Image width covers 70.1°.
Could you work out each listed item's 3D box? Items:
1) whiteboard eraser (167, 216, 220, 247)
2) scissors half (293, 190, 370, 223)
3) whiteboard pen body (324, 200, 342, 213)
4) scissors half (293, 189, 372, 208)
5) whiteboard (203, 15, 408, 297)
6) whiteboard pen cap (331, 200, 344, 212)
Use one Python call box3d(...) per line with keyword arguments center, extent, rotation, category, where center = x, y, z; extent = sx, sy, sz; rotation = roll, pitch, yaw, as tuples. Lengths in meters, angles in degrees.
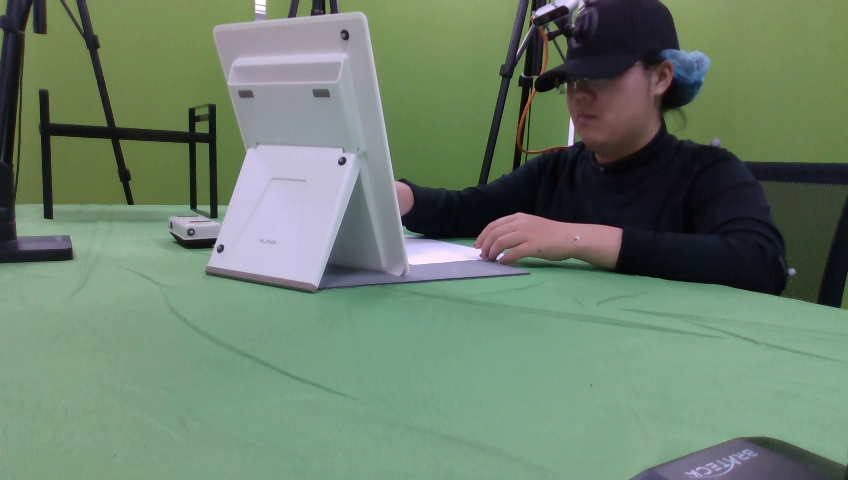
box3d(center=(-0.350, -0.013, 0.920), extent=(0.056, 0.042, 0.112), rotation=(0, 7, -35), category="whiteboard eraser")
box3d(center=(-0.205, -0.077, 1.338), extent=(0.175, 0.040, 0.013), rotation=(22, 12, -8), category="scissors half")
box3d(center=(-0.140, -0.052, 0.936), extent=(0.017, 0.017, 0.140), rotation=(1, 5, -15), category="whiteboard pen body")
box3d(center=(-0.201, -0.096, 1.332), extent=(0.175, 0.040, 0.013), rotation=(5, 19, -4), category="scissors half")
box3d(center=(-0.166, -0.072, 0.669), extent=(0.216, 0.305, 0.144), rotation=(8, 30, 30), category="whiteboard")
box3d(center=(-0.127, -0.048, 0.879), extent=(0.018, 0.018, 0.033), rotation=(1, 1, -16), category="whiteboard pen cap")
